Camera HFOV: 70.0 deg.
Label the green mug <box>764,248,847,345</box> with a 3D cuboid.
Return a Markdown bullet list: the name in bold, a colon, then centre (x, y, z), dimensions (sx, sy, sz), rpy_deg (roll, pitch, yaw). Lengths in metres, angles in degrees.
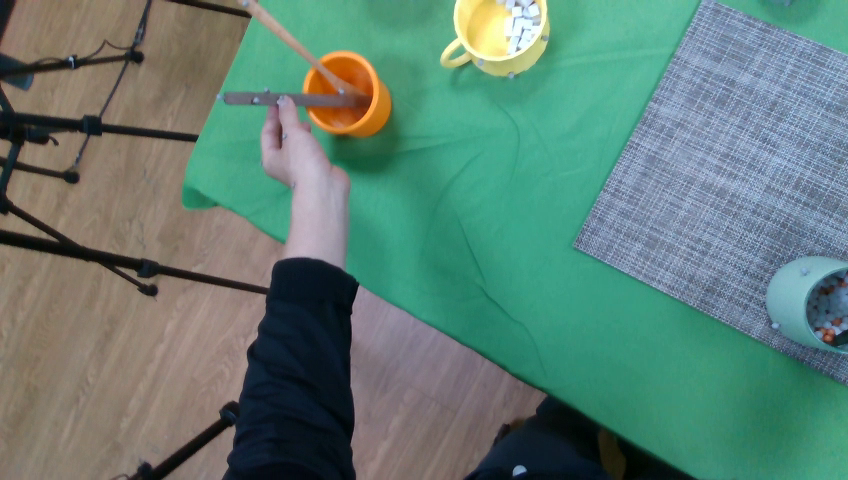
- **green mug**: centre (0.401, 0.042, 0.582), dimensions (0.092, 0.105, 0.125), rpy_deg (45, 100, 9)

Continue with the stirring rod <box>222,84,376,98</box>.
- **stirring rod**: centre (-0.133, -0.165, 0.670), dimensions (0.177, 0.006, 0.014), rpy_deg (-8, 97, -30)

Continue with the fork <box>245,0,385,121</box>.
- **fork**: centre (-0.122, -0.206, 0.678), dimensions (0.028, 0.018, 0.209), rpy_deg (-46, 125, 8)

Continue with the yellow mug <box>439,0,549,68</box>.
- **yellow mug**: centre (0.073, -0.241, 0.674), dimensions (0.131, 0.064, 0.099), rpy_deg (-31, 85, 13)
